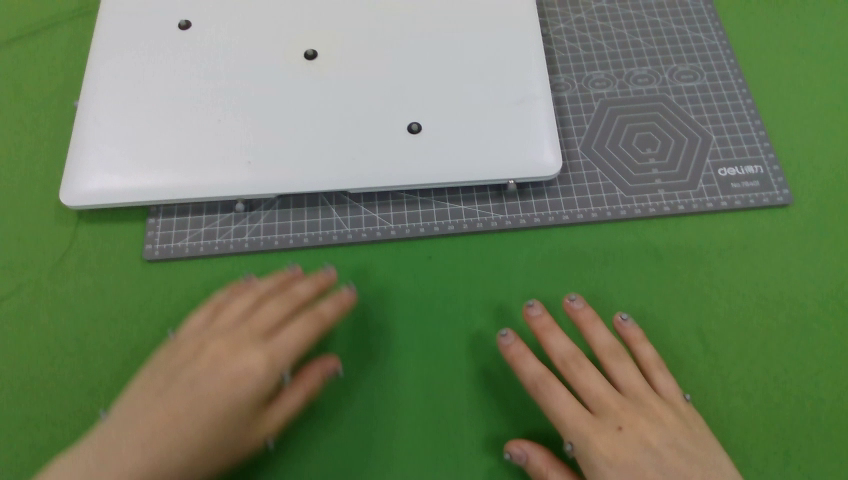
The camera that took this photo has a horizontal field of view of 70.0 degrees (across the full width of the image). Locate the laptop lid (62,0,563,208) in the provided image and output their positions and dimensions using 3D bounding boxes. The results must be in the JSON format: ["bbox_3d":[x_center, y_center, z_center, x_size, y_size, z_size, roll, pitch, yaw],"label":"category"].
[{"bbox_3d":[-0.083,-0.139,0.463,0.357,0.013,0.239,-2,66,1],"label":"laptop lid"}]

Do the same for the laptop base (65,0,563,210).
[{"bbox_3d":[-0.083,-0.135,0.475,0.354,0.023,0.233,-4,67,0],"label":"laptop base"}]
